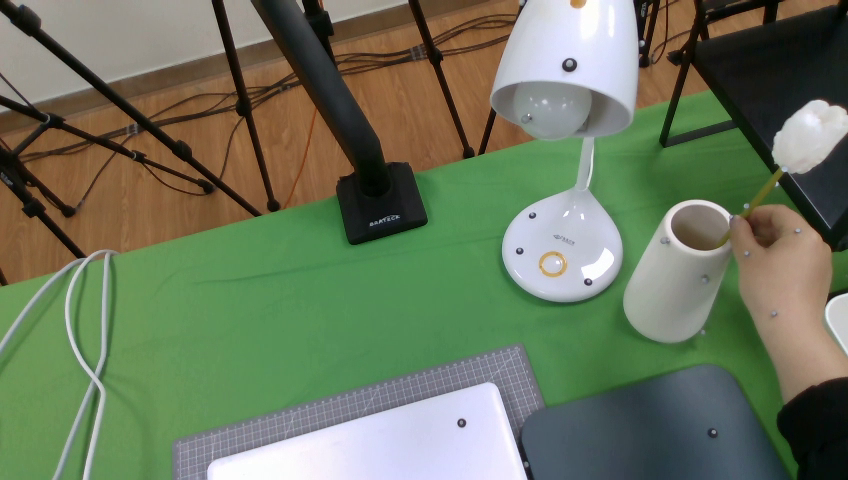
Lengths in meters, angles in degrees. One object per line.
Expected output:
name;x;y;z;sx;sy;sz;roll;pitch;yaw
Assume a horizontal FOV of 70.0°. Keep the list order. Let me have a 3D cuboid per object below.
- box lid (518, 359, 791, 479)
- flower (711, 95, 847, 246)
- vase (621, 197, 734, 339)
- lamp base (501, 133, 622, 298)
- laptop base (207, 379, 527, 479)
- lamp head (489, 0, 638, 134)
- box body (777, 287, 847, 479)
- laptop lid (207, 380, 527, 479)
box lid;0.272;0.315;0.624;0.263;0.015;0.367;-15;58;-3
flower;0.288;0.003;0.600;0.044;0.364;0.038;-3;56;-6
vase;0.283;0.035;0.685;0.098;0.202;0.097;-4;57;7
lamp base;0.179;-0.045;0.759;0.160;0.182;0.178;14;59;16
laptop base;-0.057;0.307;0.665;0.354;0.023;0.233;-15;62;-2
lamp head;0.117;-0.156;0.481;0.112;0.113;0.122;11;78;14
box body;0.544;0.215;0.561;0.254;0.162;0.360;-13;58;0
laptop lid;-0.058;0.304;0.656;0.357;0.013;0.239;-14;60;-1
